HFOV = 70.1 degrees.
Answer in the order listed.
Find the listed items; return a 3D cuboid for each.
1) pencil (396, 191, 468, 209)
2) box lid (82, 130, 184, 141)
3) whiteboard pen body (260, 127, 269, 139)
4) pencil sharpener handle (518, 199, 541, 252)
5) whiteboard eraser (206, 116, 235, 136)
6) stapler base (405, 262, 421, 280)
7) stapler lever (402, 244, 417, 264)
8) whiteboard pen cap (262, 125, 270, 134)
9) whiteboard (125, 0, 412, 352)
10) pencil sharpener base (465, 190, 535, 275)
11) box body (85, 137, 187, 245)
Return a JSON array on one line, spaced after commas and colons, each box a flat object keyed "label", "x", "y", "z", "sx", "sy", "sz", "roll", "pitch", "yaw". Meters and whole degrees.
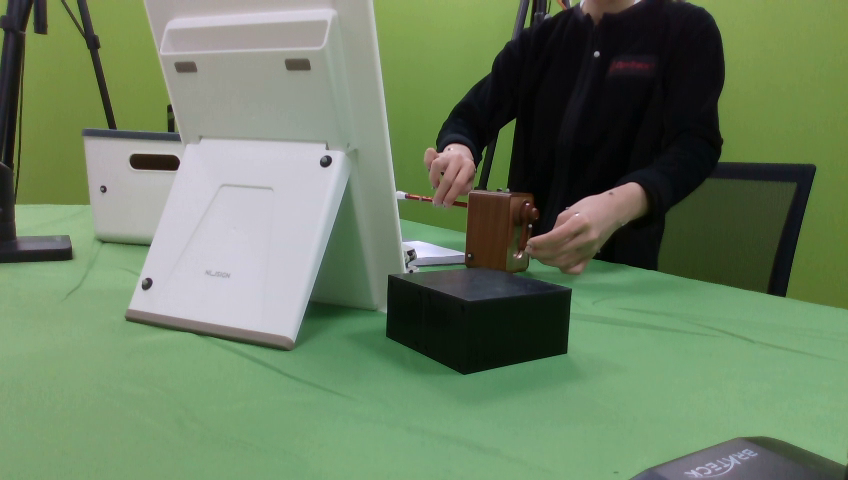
[{"label": "pencil", "x": 0.023, "y": -0.055, "z": 0.880, "sx": 0.193, "sy": 0.012, "sz": 0.012, "roll": 13, "pitch": 12, "yaw": 41}, {"label": "box lid", "x": -0.337, "y": -0.161, "z": 1.011, "sx": 0.263, "sy": 0.015, "sz": 0.372, "roll": 4, "pitch": 6, "yaw": 11}, {"label": "whiteboard pen body", "x": -0.366, "y": -0.247, "z": 1.392, "sx": 0.017, "sy": 0.017, "sz": 0.140, "roll": 0, "pitch": 3, "yaw": -17}, {"label": "pencil sharpener handle", "x": 0.140, "y": -0.018, "z": 0.774, "sx": 0.030, "sy": 0.067, "sz": 0.036, "roll": 10, "pitch": -5, "yaw": 41}, {"label": "whiteboard eraser", "x": -0.450, "y": -0.252, "z": 1.335, "sx": 0.056, "sy": 0.042, "sz": 0.112, "roll": 1, "pitch": 7, "yaw": -22}, {"label": "stapler base", "x": -0.069, "y": 0.027, "z": 0.759, "sx": 0.130, "sy": 0.024, "sz": 0.041, "roll": 9, "pitch": 13, "yaw": 23}, {"label": "stapler lever", "x": -0.066, "y": 0.003, "z": 0.755, "sx": 0.117, "sy": 0.040, "sz": 0.027, "roll": 9, "pitch": 13, "yaw": 23}, {"label": "whiteboard pen cap", "x": -0.349, "y": -0.244, "z": 1.336, "sx": 0.018, "sy": 0.018, "sz": 0.033, "roll": 0, "pitch": 2, "yaw": -17}, {"label": "whiteboard", "x": -0.151, "y": -0.049, "z": 0.472, "sx": 0.216, "sy": 0.305, "sz": 0.144, "roll": 6, "pitch": 27, "yaw": 24}, {"label": "pencil sharpener base", "x": 0.104, "y": -0.012, "z": 0.811, "sx": 0.076, "sy": 0.107, "sz": 0.062, "roll": 10, "pitch": 9, "yaw": 40}, {"label": "box body", "x": -0.340, "y": -0.088, "z": 1.022, "sx": 0.254, "sy": 0.160, "sz": 0.364, "roll": 4, "pitch": 7, "yaw": 11}]
